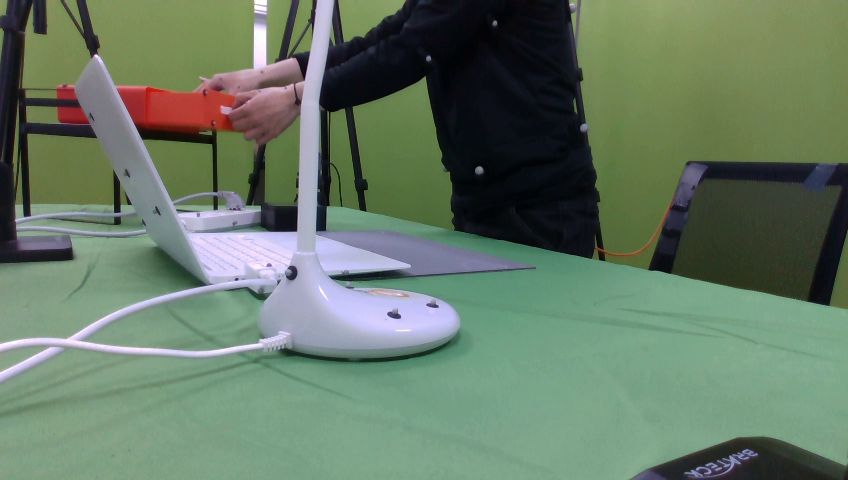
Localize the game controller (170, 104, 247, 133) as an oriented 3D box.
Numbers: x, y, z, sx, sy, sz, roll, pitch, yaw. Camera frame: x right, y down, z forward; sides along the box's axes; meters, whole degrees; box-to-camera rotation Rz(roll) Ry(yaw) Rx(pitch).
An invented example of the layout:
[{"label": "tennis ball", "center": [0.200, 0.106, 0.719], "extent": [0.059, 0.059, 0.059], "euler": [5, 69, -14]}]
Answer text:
[{"label": "game controller", "center": [-0.439, -0.247, 1.228], "extent": [0.097, 0.051, 0.155], "euler": [2, 7, 15]}]

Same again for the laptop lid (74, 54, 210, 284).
[{"label": "laptop lid", "center": [-0.341, -0.079, 0.704], "extent": [0.013, 0.242, 0.355], "euler": [-30, 23, -26]}]

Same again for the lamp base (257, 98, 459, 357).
[{"label": "lamp base", "center": [-0.055, -0.014, 0.463], "extent": [0.160, 0.180, 0.180], "euler": [6, 11, 27]}]

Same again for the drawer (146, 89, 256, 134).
[{"label": "drawer", "center": [-0.484, -0.260, 1.237], "extent": [0.211, 0.073, 0.195], "euler": [3, 7, 13]}]

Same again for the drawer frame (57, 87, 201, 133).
[{"label": "drawer frame", "center": [-0.595, -0.269, 1.261], "extent": [0.213, 0.082, 0.202], "euler": [4, 8, 14]}]

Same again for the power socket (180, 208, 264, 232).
[{"label": "power socket", "center": [-0.381, -0.038, 1.128], "extent": [0.072, 0.032, 0.227], "euler": [4, 8, 16]}]

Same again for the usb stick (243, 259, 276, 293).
[{"label": "usb stick", "center": [-0.166, 0.035, 0.604], "extent": [0.021, 0.027, 0.059], "euler": [-8, 8, -28]}]

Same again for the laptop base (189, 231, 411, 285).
[{"label": "laptop base", "center": [-0.204, 0.019, 0.807], "extent": [0.237, 0.023, 0.352], "euler": [0, 7, -33]}]

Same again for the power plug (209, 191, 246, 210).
[{"label": "power plug", "center": [-0.388, -0.071, 1.203], "extent": [0.072, 0.052, 0.035], "euler": [3, 7, 25]}]
